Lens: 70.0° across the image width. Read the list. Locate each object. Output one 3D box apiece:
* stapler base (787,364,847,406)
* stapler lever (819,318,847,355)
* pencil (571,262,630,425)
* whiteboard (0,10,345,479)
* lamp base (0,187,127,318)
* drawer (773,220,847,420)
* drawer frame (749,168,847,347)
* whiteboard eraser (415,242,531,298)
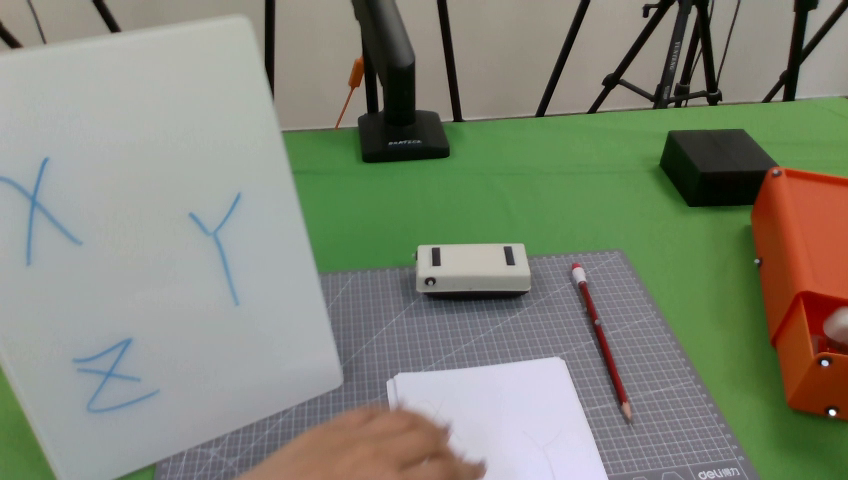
[{"bbox_3d":[0.389,0.124,0.520,0.130,0.024,0.041,5,37,16],"label":"stapler base"},{"bbox_3d":[0.390,0.096,0.499,0.118,0.040,0.026,14,39,9],"label":"stapler lever"},{"bbox_3d":[0.163,0.088,0.563,0.012,0.012,0.192,-1,40,-2],"label":"pencil"},{"bbox_3d":[-0.214,-0.001,0.477,0.218,0.307,0.142,-18,23,-21],"label":"whiteboard"},{"bbox_3d":[-0.402,-0.043,0.579,0.178,0.182,0.160,22,43,27],"label":"lamp base"},{"bbox_3d":[0.420,0.070,0.538,0.194,0.074,0.210,10,39,13],"label":"drawer"},{"bbox_3d":[0.440,0.028,0.588,0.201,0.083,0.212,11,39,13],"label":"drawer frame"},{"bbox_3d":[0.048,0.030,0.605,0.113,0.042,0.055,0,40,-1],"label":"whiteboard eraser"}]
